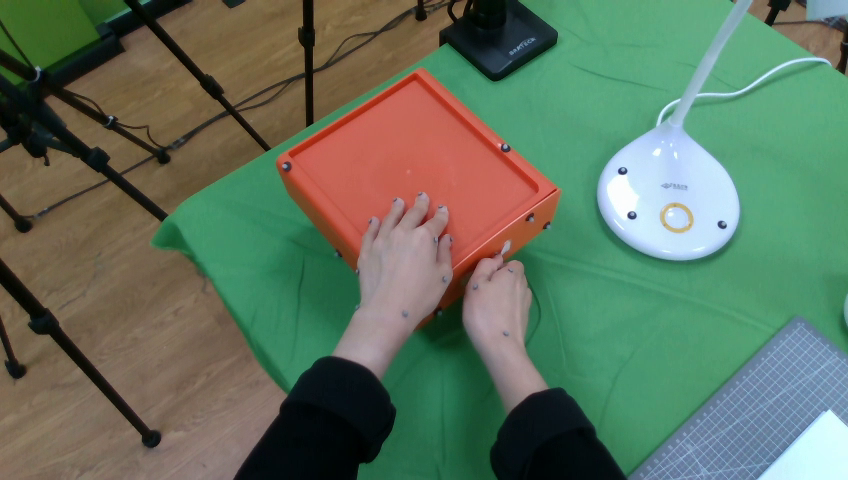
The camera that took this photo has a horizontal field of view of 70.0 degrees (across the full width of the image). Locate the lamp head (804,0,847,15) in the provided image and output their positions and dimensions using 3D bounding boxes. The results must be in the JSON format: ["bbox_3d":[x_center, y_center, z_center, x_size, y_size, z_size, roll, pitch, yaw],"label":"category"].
[{"bbox_3d":[0.293,-0.206,0.369,0.112,0.112,0.123,-11,100,-5],"label":"lamp head"}]

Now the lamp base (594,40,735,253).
[{"bbox_3d":[0.275,-0.104,0.643,0.161,0.182,0.177,-4,59,-1],"label":"lamp base"}]

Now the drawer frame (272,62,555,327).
[{"bbox_3d":[-0.011,-0.053,0.631,0.201,0.083,0.212,-37,68,-16],"label":"drawer frame"}]

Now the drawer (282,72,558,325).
[{"bbox_3d":[-0.006,-0.052,0.626,0.194,0.074,0.210,-37,67,-16],"label":"drawer"}]

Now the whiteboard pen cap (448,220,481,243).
[{"bbox_3d":[0.041,-0.009,0.627,0.033,0.018,0.018,17,63,7],"label":"whiteboard pen cap"}]

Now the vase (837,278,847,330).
[{"bbox_3d":[0.475,0.035,0.554,0.098,0.201,0.097,-1,60,2],"label":"vase"}]

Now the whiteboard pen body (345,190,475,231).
[{"bbox_3d":[-0.015,-0.029,0.631,0.140,0.017,0.017,16,63,9],"label":"whiteboard pen body"}]

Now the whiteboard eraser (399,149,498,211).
[{"bbox_3d":[0.028,-0.066,0.676,0.111,0.042,0.055,17,70,44],"label":"whiteboard eraser"}]
